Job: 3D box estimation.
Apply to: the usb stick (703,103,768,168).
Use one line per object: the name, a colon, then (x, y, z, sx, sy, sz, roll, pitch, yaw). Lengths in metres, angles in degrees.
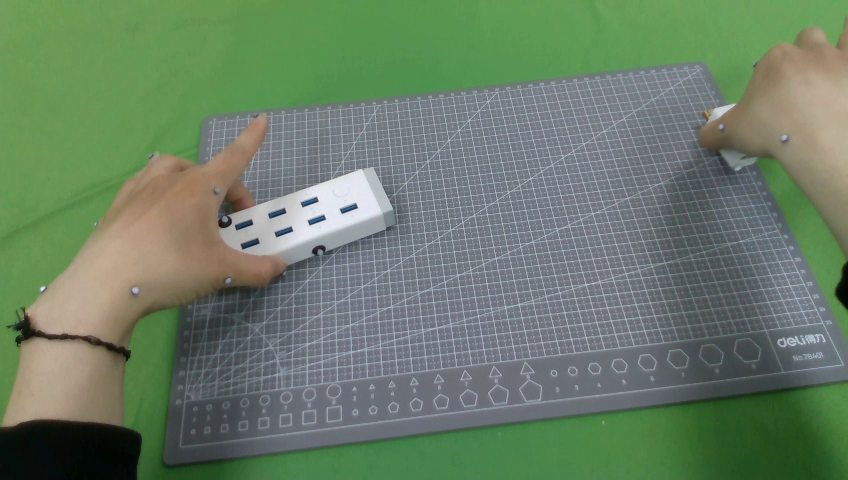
usb stick: (0.243, -0.088, 0.479, 0.021, 0.027, 0.058, -16, 55, -5)

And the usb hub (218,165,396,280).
usb hub: (-0.088, -0.015, 0.458, 0.125, 0.025, 0.049, -20, 59, -10)
